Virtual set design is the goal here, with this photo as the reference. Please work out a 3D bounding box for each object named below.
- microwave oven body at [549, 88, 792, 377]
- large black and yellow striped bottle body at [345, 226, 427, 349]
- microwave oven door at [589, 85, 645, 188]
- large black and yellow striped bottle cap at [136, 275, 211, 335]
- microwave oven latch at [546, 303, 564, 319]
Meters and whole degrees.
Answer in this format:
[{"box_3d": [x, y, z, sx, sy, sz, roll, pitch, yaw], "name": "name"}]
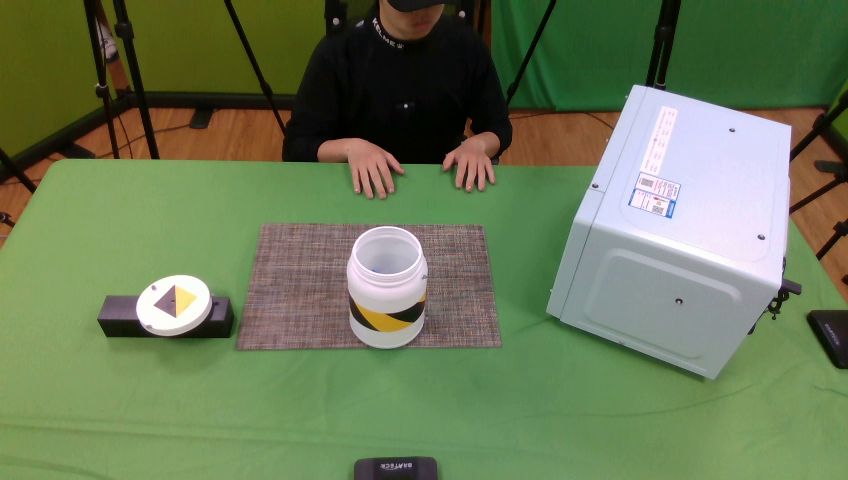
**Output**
[{"box_3d": [0.456, -0.028, 1.088, 0.325, 0.261, 0.440, 20, 47, 16], "name": "microwave oven body"}, {"box_3d": [-0.062, 0.078, 0.998, 0.131, 0.185, 0.130, 2, 46, -2], "name": "large black and yellow striped bottle body"}, {"box_3d": [0.341, -0.107, 1.149, 0.039, 0.245, 0.354, 20, 48, 15], "name": "microwave oven door"}, {"box_3d": [-0.412, 0.105, 0.999, 0.115, 0.019, 0.114, 3, 46, -3], "name": "large black and yellow striped bottle cap"}, {"box_3d": [0.242, 0.102, 1.081, 0.030, 0.029, 0.079, 21, 48, 17], "name": "microwave oven latch"}]
